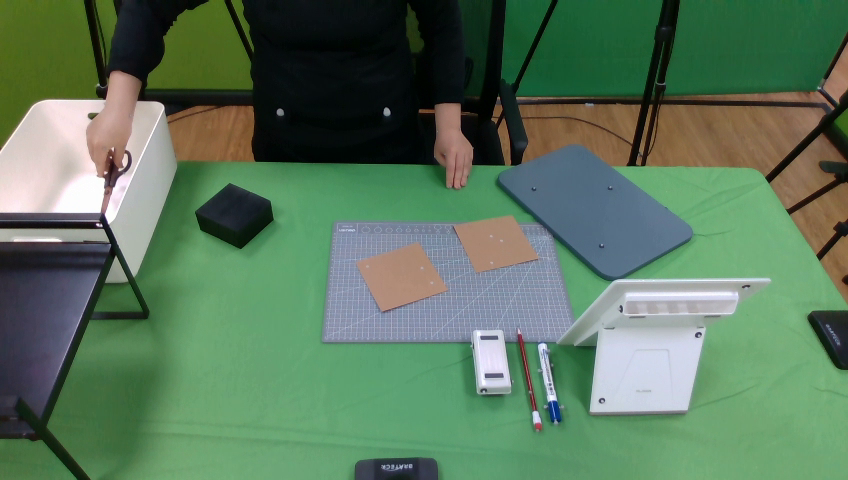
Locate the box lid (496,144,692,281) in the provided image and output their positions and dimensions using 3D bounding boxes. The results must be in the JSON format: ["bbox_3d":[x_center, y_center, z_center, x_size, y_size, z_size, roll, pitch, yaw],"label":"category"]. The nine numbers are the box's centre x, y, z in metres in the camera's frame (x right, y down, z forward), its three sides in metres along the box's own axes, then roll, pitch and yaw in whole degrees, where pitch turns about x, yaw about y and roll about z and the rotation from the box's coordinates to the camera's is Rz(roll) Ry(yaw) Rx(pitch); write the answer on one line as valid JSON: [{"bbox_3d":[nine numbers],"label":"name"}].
[{"bbox_3d":[0.360,-0.073,1.305,0.263,0.015,0.369,-24,52,-25],"label":"box lid"}]

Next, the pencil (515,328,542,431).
[{"bbox_3d":[0.169,0.224,1.002,0.012,0.012,0.192,-1,46,-6],"label":"pencil"}]

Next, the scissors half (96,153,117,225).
[{"bbox_3d":[-0.624,-0.099,1.185,0.040,0.013,0.174,-16,60,4],"label":"scissors half"}]

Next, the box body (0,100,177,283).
[{"bbox_3d":[-0.639,-0.095,1.140,0.254,0.161,0.361,1,46,-4],"label":"box body"}]

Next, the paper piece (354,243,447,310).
[{"bbox_3d":[-0.045,0.066,1.137,0.136,0.009,0.137,-14,47,-22],"label":"paper piece"}]

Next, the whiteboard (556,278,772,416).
[{"bbox_3d":[0.347,0.174,0.903,0.217,0.306,0.143,1,65,-4],"label":"whiteboard"}]

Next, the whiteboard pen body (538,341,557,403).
[{"bbox_3d":[0.205,0.228,0.997,0.017,0.017,0.140,1,46,-3],"label":"whiteboard pen body"}]

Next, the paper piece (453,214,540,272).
[{"bbox_3d":[0.142,0.002,1.213,0.135,0.004,0.135,-11,47,-14],"label":"paper piece"}]

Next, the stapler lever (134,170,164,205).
[{"bbox_3d":[-0.554,-0.113,1.222,0.027,0.040,0.117,7,36,-9],"label":"stapler lever"}]

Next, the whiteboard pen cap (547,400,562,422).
[{"bbox_3d":[0.205,0.269,0.956,0.018,0.018,0.033,0,47,-5],"label":"whiteboard pen cap"}]

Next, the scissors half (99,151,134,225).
[{"bbox_3d":[-0.604,-0.101,1.183,0.040,0.013,0.174,3,62,8],"label":"scissors half"}]

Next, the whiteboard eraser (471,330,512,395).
[{"bbox_3d":[0.110,0.202,0.998,0.055,0.042,0.112,1,46,-5],"label":"whiteboard eraser"}]

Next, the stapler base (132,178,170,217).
[{"bbox_3d":[-0.557,-0.093,1.236,0.041,0.024,0.130,7,35,-9],"label":"stapler base"}]
